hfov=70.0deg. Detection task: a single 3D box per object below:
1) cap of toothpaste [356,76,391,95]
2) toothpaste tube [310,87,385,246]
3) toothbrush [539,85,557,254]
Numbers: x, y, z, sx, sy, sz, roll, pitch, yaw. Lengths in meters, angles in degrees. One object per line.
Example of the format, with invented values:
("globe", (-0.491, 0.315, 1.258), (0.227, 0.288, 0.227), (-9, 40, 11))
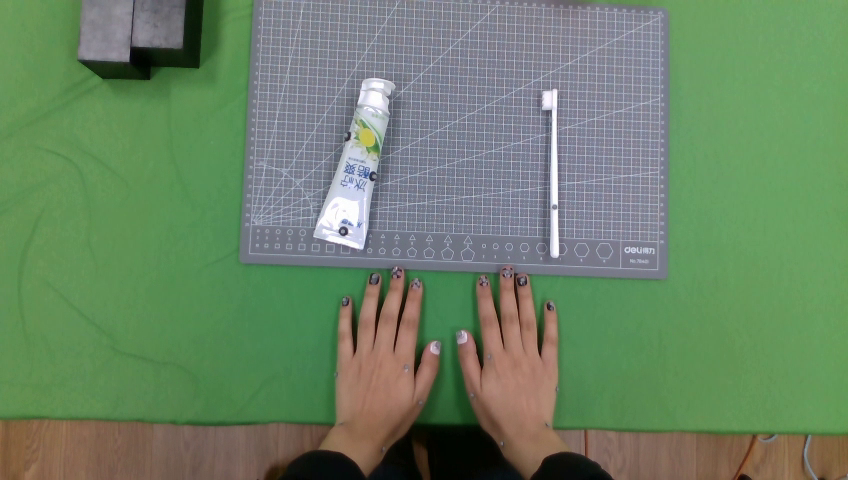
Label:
("cap of toothpaste", (-0.052, -0.159, 0.627), (0.037, 0.037, 0.011), (3, 83, -3))
("toothpaste tube", (-0.073, -0.080, 0.626), (0.055, 0.034, 0.165), (13, 89, 5))
("toothbrush", (0.133, -0.075, 0.643), (0.016, 0.014, 0.181), (-1, 86, 0))
